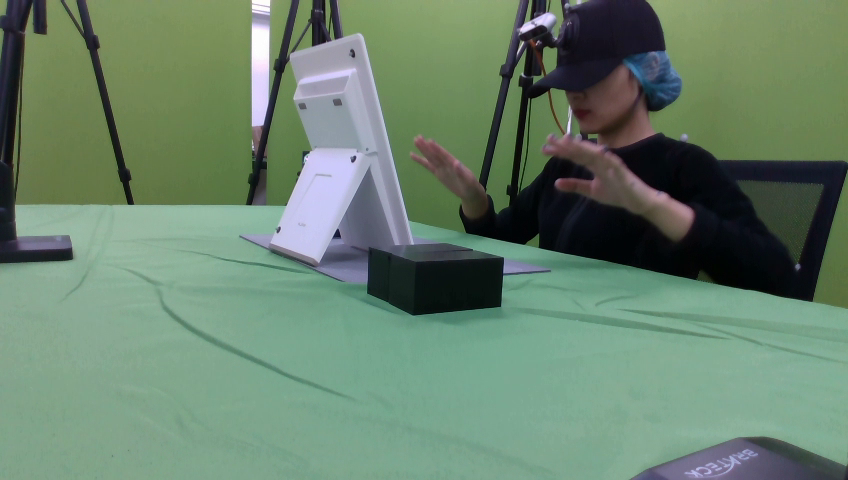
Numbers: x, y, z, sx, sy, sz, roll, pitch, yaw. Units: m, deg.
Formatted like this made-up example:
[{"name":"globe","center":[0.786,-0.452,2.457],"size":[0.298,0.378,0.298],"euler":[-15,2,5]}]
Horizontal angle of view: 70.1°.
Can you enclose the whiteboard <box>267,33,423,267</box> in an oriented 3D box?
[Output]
[{"name":"whiteboard","center":[-0.153,-0.098,0.819],"size":[0.144,0.305,0.216],"euler":[-25,21,-29]}]

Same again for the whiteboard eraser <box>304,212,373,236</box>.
[{"name":"whiteboard eraser","center":[-0.152,-0.029,1.077],"size":[0.113,0.042,0.055],"euler":[-2,8,-31]}]
